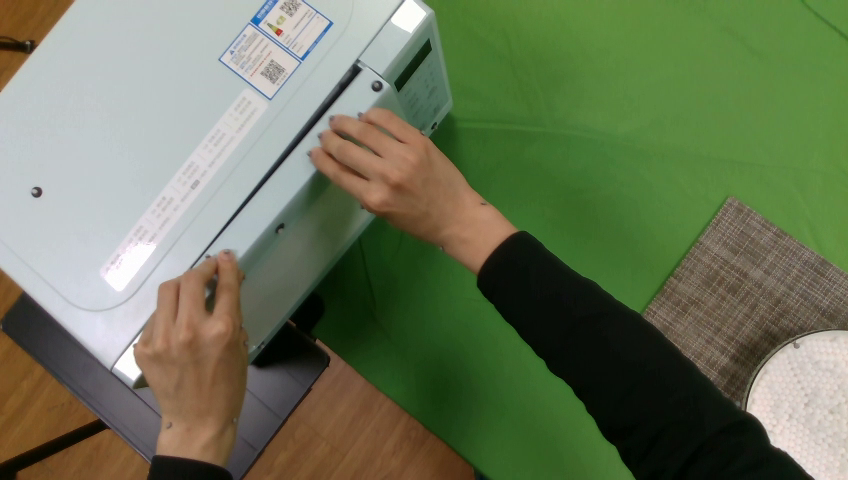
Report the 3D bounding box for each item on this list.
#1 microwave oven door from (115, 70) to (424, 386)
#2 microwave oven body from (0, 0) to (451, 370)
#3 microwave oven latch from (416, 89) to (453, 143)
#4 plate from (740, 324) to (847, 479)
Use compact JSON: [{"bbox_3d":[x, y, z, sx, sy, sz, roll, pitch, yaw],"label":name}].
[{"bbox_3d":[-0.140,0.003,0.653,0.039,0.245,0.355,39,89,11],"label":"microwave oven door"},{"bbox_3d":[-0.233,-0.121,0.685,0.325,0.261,0.441,38,89,9],"label":"microwave oven body"},{"bbox_3d":[0.003,-0.159,0.759,0.030,0.029,0.079,40,90,10],"label":"microwave oven latch"},{"bbox_3d":[0.460,0.198,0.675,0.209,0.038,0.208,-1,83,7],"label":"plate"}]
